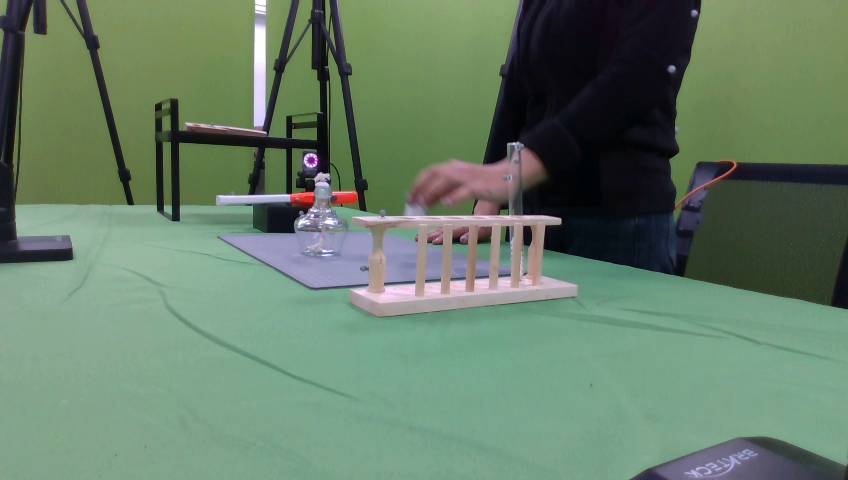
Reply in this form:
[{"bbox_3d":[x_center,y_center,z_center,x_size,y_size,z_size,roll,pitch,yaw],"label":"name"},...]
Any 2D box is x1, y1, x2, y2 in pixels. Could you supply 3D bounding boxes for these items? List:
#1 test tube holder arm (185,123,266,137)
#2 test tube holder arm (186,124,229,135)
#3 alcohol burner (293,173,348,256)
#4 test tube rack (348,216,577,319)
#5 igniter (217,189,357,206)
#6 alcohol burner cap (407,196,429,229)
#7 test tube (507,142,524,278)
[{"bbox_3d":[-0.434,-0.242,1.333,0.179,0.015,0.013,-4,48,-43],"label":"test tube holder arm"},{"bbox_3d":[-0.465,-0.237,1.300,0.088,0.015,0.010,-2,47,-41],"label":"test tube holder arm"},{"bbox_3d":[-0.147,-0.036,0.859,0.078,0.119,0.078,4,8,0],"label":"alcohol burner"},{"bbox_3d":[0.048,0.021,0.619,0.244,0.085,0.066,-2,9,-31],"label":"test tube rack"},{"bbox_3d":[-0.251,-0.081,1.155,0.278,0.025,0.057,-5,8,-32],"label":"igniter"},{"bbox_3d":[-0.009,-0.038,0.842,0.034,0.048,0.034,5,6,0],"label":"alcohol burner cap"},{"bbox_3d":[0.101,-0.032,0.666,0.017,0.150,0.017,-2,6,1],"label":"test tube"}]
